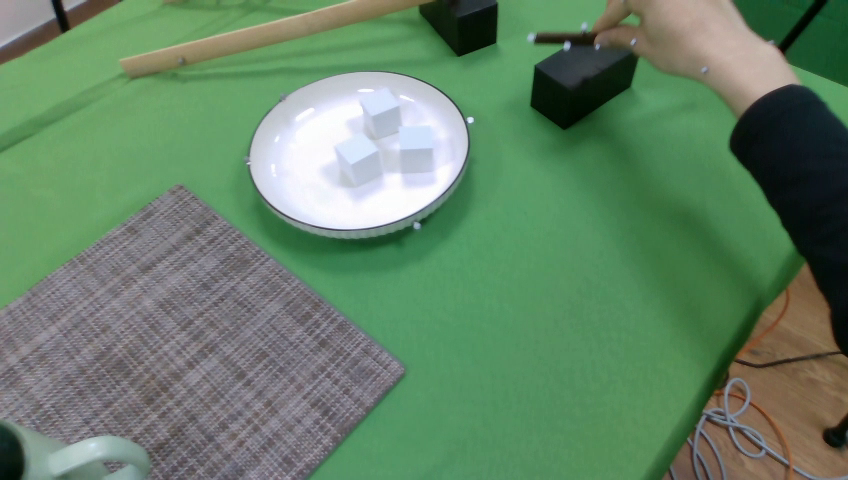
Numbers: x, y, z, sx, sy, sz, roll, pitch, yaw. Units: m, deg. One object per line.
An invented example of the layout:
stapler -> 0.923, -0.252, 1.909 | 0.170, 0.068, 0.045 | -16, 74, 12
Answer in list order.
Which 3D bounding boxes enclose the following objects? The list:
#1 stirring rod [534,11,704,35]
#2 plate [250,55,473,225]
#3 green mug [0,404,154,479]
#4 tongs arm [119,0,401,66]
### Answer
stirring rod -> 0.184, -0.202, 0.564 | 0.177, 0.014, 0.005 | -2, 64, -16
plate -> -0.057, -0.095, 0.580 | 0.207, 0.039, 0.205 | -1, 56, 3
green mug -> -0.235, 0.150, 0.377 | 0.125, 0.106, 0.091 | -23, 56, -12
tongs arm -> -0.148, -0.248, 0.662 | 0.387, 0.028, 0.028 | -13, 49, 5
